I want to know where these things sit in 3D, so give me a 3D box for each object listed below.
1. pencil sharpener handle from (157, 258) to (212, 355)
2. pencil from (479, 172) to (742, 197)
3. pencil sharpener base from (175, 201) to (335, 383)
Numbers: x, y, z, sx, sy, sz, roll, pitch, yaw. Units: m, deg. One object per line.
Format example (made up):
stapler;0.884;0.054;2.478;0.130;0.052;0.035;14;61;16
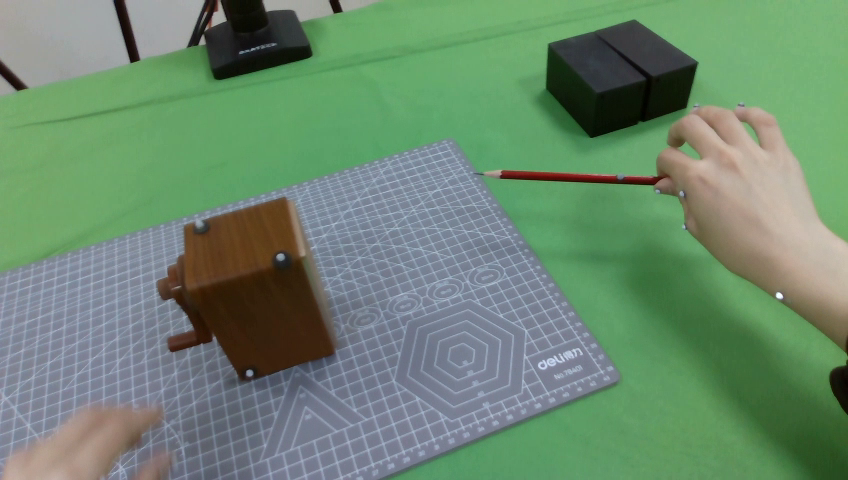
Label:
pencil sharpener handle;-0.159;0.046;0.388;0.031;0.068;0.035;-17;36;-8
pencil;0.139;-0.044;0.464;0.194;0.012;0.012;4;46;9
pencil sharpener base;-0.110;0.038;0.406;0.077;0.108;0.060;-17;46;-8
